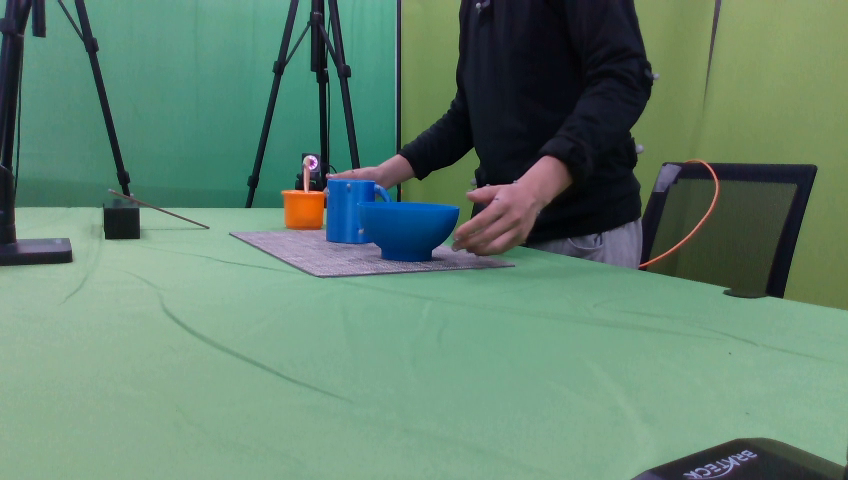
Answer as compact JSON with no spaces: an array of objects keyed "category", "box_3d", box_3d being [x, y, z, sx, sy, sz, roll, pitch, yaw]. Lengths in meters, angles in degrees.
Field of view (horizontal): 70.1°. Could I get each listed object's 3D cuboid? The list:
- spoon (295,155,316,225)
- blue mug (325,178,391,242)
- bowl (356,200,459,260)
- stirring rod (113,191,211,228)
[{"category":"spoon","box_3d":[-0.247,-0.108,1.261,0.042,0.021,0.193,5,47,-16]},{"category":"blue mug","box_3d":[-0.111,-0.052,1.034,0.116,0.106,0.082,3,7,7]},{"category":"bowl","box_3d":[-0.025,-0.015,0.877,0.151,0.077,0.151,2,7,0]},{"category":"stirring rod","box_3d":[-0.484,-0.055,1.121,0.177,0.006,0.014,22,-6,-22]}]
